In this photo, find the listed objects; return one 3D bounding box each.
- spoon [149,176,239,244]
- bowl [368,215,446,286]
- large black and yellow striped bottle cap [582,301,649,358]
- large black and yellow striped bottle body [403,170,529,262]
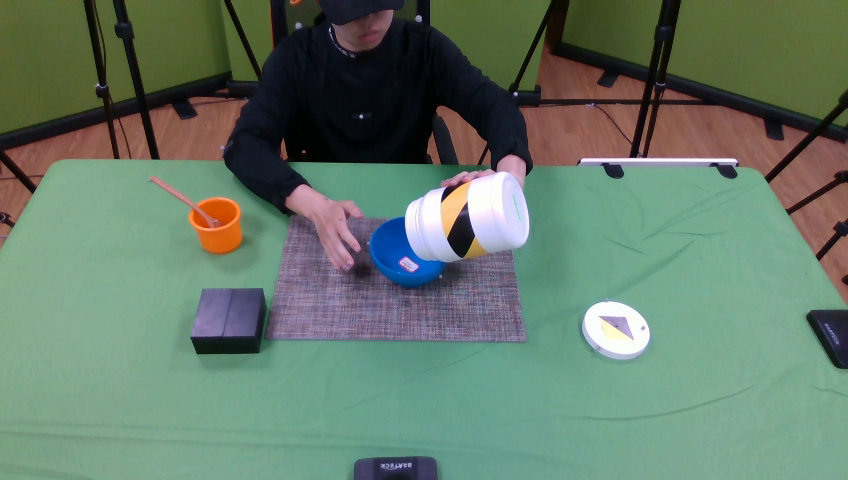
[{"bbox_3d":[-0.427,-0.057,1.132,0.021,0.195,0.041,-28,31,33],"label":"spoon"},{"bbox_3d":[-0.028,0.033,1.119,0.151,0.077,0.150,2,46,-2],"label":"bowl"},{"bbox_3d":[0.340,0.157,1.077,0.115,0.019,0.114,1,47,-1],"label":"large black and yellow striped bottle cap"},{"bbox_3d":[0.070,-0.035,1.026,0.184,0.131,0.130,-13,39,28],"label":"large black and yellow striped bottle body"}]
